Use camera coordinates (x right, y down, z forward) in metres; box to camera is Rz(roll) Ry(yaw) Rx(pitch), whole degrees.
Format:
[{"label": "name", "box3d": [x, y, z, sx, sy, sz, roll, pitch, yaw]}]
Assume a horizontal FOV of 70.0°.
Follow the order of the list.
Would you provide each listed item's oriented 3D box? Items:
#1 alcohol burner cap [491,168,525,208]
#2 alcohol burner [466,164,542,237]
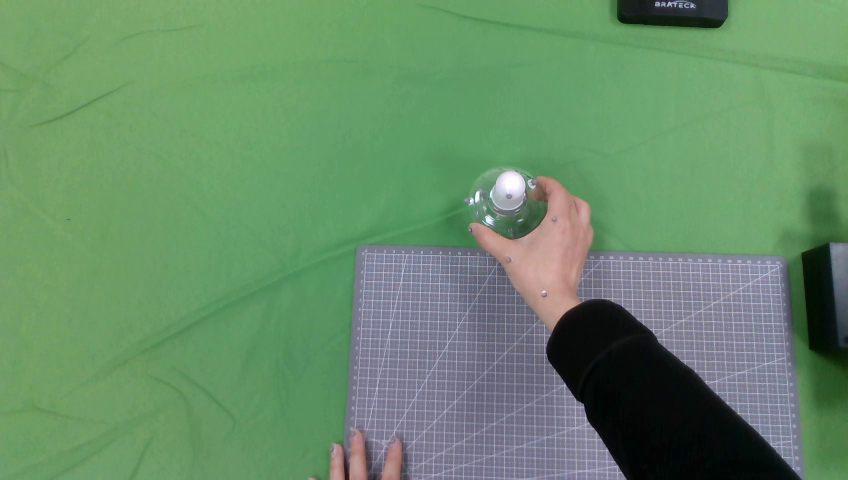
[{"label": "alcohol burner cap", "box3d": [0.080, -0.051, 0.569, 0.034, 0.048, 0.033, -1, 80, 4]}, {"label": "alcohol burner", "box3d": [0.080, -0.044, 0.599, 0.078, 0.119, 0.077, -1, 78, 4]}]
